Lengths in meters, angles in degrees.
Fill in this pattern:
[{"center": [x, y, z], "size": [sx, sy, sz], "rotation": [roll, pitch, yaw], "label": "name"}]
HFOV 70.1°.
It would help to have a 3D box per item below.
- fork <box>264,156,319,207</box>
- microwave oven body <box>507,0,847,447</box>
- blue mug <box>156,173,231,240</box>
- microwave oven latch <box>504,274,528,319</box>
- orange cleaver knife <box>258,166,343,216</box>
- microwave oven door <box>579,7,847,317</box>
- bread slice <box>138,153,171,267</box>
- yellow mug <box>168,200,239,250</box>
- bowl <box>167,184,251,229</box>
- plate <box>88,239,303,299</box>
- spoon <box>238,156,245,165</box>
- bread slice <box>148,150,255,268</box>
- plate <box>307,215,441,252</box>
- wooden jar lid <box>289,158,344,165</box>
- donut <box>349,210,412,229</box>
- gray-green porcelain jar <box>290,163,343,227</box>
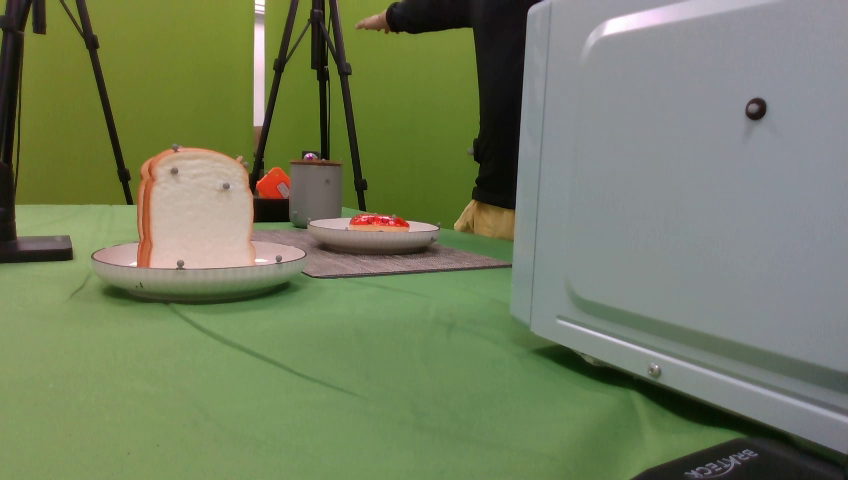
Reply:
[{"center": [-0.331, -0.144, 1.506], "size": [0.207, 0.018, 0.028], "rotation": [-42, -22, 22], "label": "fork"}, {"center": [0.331, -0.042, 0.425], "size": [0.444, 0.260, 0.324], "rotation": [-2, 8, -31], "label": "microwave oven body"}, {"center": [-0.381, -0.057, 1.004], "size": [0.117, 0.106, 0.082], "rotation": [0, 8, -12], "label": "blue mug"}, {"center": [0.100, 0.041, 0.471], "size": [0.079, 0.029, 0.030], "rotation": [-1, 7, -27], "label": "microwave oven latch"}, {"center": [-0.276, -0.090, 1.370], "size": [0.212, 0.077, 0.012], "rotation": [33, -11, -34], "label": "orange cleaver knife"}, {"center": [0.294, -0.067, 0.570], "size": [0.358, 0.243, 0.039], "rotation": [-3, 9, -31], "label": "microwave oven door"}, {"center": [-0.256, -0.029, 0.660], "size": [0.105, 0.131, 0.019], "rotation": [-1, 0, -36], "label": "bread slice"}, {"center": [-0.320, -0.023, 0.904], "size": [0.130, 0.064, 0.100], "rotation": [9, 11, 36], "label": "yellow mug"}, {"center": [-0.408, -0.064, 1.155], "size": [0.151, 0.077, 0.151], "rotation": [2, 8, 0], "label": "bowl"}, {"center": [-0.233, 0.029, 0.636], "size": [0.208, 0.039, 0.207], "rotation": [2, 7, 0], "label": "plate"}, {"center": [-0.477, -0.145, 1.492], "size": [0.041, 0.022, 0.193], "rotation": [0, 51, 13], "label": "spoon"}, {"center": [-0.230, -0.024, 0.618], "size": [0.107, 0.134, 0.018], "rotation": [-8, 10, -34], "label": "bread slice"}, {"center": [-0.078, -0.011, 0.954], "size": [0.209, 0.038, 0.209], "rotation": [2, 7, 0], "label": "plate"}, {"center": [-0.215, -0.153, 1.212], "size": [0.108, 0.020, 0.108], "rotation": [2, 5, 0], "label": "wooden jar lid"}, {"center": [-0.069, -0.023, 0.961], "size": [0.099, 0.048, 0.099], "rotation": [3, 5, 0], "label": "donut"}, {"center": [-0.217, -0.091, 1.221], "size": [0.106, 0.126, 0.106], "rotation": [2, 7, 0], "label": "gray-green porcelain jar"}]
